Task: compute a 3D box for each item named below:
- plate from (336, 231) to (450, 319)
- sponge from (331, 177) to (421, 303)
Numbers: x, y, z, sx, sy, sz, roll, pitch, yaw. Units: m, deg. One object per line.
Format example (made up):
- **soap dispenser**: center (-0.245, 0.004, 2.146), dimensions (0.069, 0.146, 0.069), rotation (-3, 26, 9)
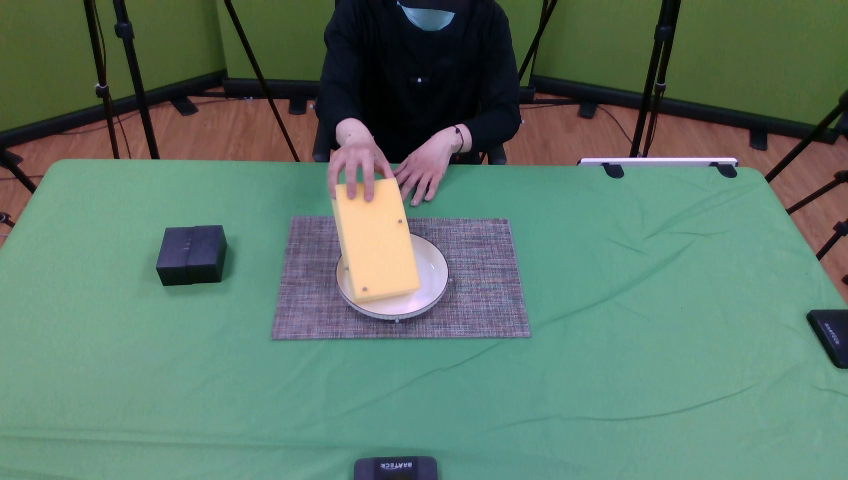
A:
- **plate**: center (-0.056, 0.065, 1.113), dimensions (0.208, 0.039, 0.206), rotation (2, 46, -2)
- **sponge**: center (-0.087, 0.000, 1.077), dimensions (0.118, 0.061, 0.206), rotation (-11, 79, -14)
